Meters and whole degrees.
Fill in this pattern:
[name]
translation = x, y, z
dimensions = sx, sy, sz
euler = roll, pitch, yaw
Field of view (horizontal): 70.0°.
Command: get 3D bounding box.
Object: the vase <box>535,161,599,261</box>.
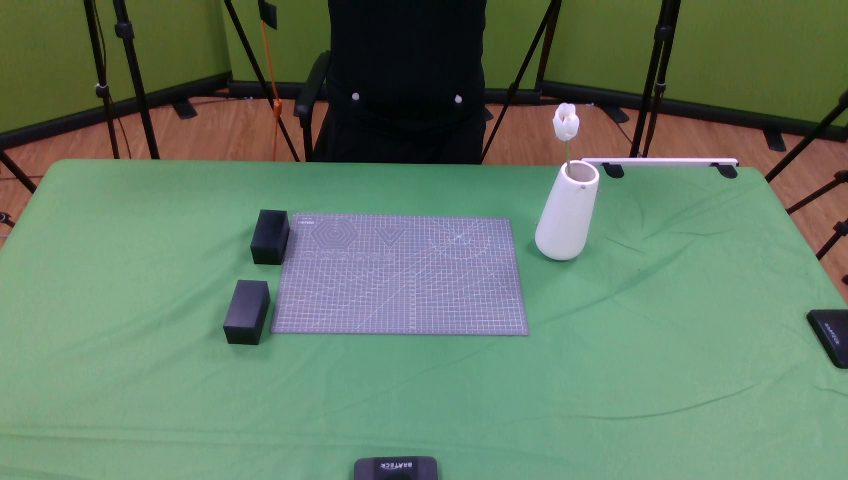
[vase]
translation = 0.270, -0.051, 1.145
dimensions = 0.098, 0.201, 0.097
euler = 1, 46, -1

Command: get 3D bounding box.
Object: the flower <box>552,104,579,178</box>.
[flower]
translation = 0.258, -0.102, 1.080
dimensions = 0.038, 0.364, 0.043
euler = -25, 55, -2
